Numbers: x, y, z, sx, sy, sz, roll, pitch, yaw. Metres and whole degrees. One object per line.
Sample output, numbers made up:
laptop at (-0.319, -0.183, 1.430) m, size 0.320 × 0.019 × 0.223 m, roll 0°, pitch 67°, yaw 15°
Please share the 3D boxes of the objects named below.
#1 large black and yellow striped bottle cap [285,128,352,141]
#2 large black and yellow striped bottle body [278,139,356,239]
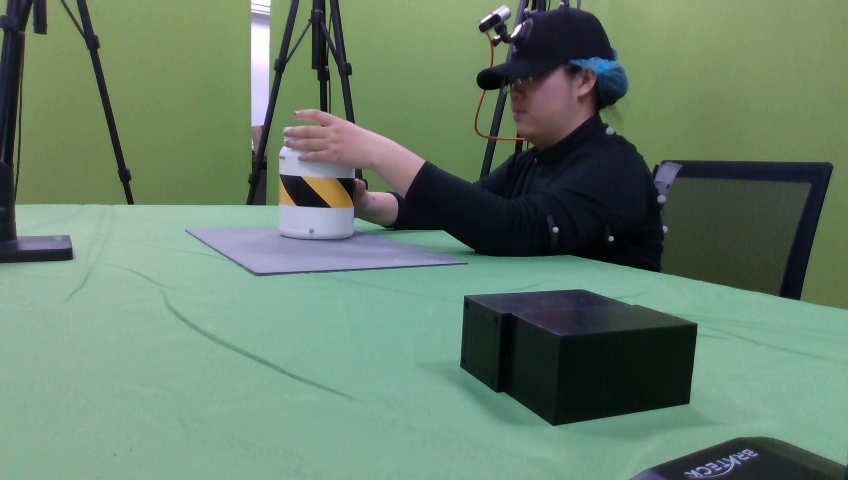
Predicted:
large black and yellow striped bottle cap at (-0.181, -0.181, 1.041) m, size 0.115 × 0.019 × 0.115 m, roll 1°, pitch 8°, yaw 0°
large black and yellow striped bottle body at (-0.186, -0.098, 1.052) m, size 0.131 × 0.184 × 0.130 m, roll 3°, pitch 8°, yaw 0°
